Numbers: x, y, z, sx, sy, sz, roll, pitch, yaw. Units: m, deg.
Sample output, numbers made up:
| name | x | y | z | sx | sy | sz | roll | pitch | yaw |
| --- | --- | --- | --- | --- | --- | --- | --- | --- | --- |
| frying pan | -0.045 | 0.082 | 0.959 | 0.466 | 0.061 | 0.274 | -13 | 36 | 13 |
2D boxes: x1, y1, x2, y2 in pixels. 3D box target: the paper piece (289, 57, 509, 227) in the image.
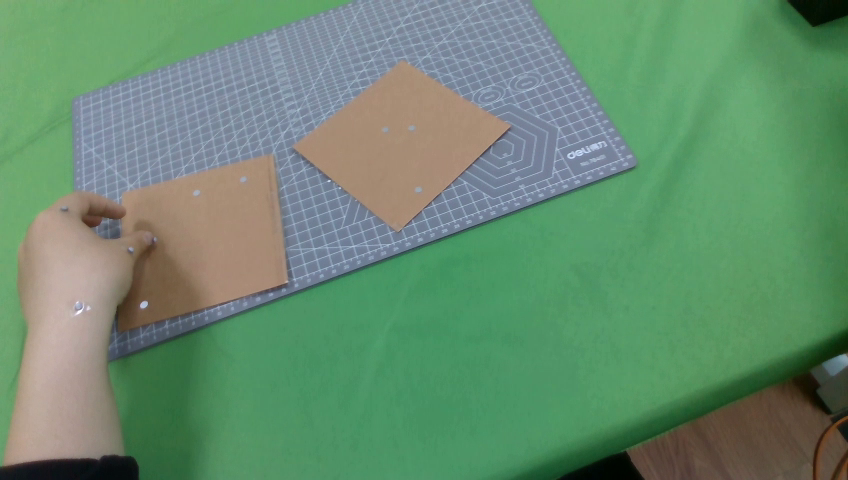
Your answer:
| name | x | y | z | sx | sy | sz | roll | pitch | yaw |
| --- | --- | --- | --- | --- | --- | --- | --- | --- | --- |
| paper piece | -0.023 | -0.090 | 0.514 | 0.134 | 0.004 | 0.135 | 38 | 72 | 26 |

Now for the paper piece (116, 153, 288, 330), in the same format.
| name | x | y | z | sx | sy | sz | roll | pitch | yaw |
| --- | --- | --- | --- | --- | --- | --- | --- | --- | --- |
| paper piece | -0.182 | -0.005 | 0.491 | 0.138 | 0.009 | 0.134 | -16 | 55 | 0 |
